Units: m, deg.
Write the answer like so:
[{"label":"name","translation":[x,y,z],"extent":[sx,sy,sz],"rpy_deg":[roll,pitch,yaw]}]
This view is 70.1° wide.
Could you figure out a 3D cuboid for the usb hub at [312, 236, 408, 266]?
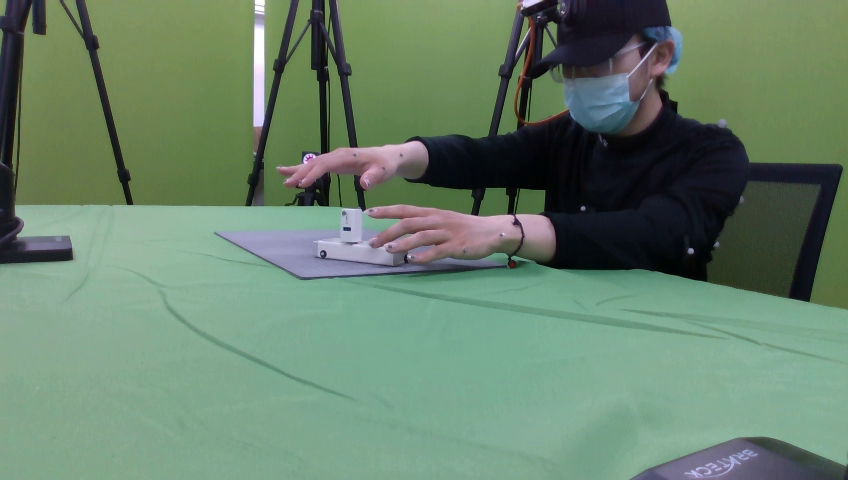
[{"label":"usb hub","translation":[-0.088,0.014,0.829],"extent":[0.125,0.025,0.049],"rpy_deg":[6,11,22]}]

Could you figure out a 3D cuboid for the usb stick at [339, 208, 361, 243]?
[{"label":"usb stick","translation":[-0.100,-0.014,0.815],"extent":[0.021,0.059,0.027],"rpy_deg":[5,10,21]}]
